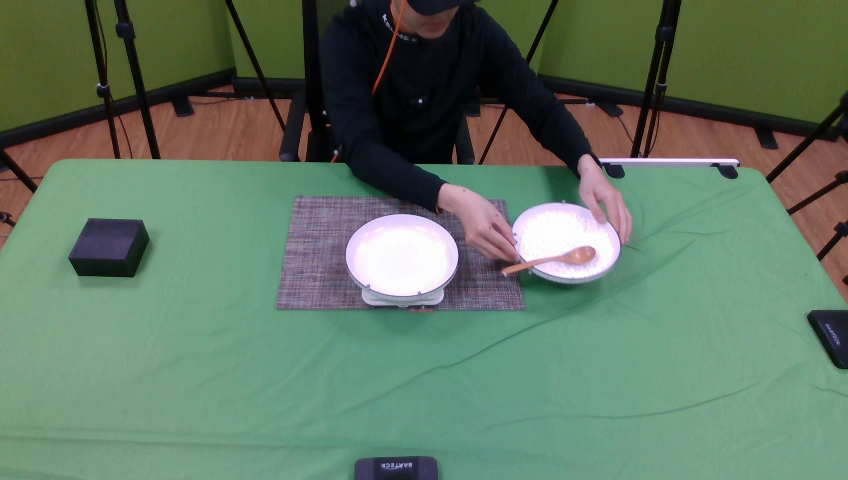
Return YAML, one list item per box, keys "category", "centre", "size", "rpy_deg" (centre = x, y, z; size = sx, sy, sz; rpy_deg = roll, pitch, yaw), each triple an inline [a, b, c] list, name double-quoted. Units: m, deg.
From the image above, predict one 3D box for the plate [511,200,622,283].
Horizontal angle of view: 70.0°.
- category: "plate"
  centre: [0.269, 0.006, 1.156]
  size: [0.209, 0.038, 0.208]
  rpy_deg: [0, 45, 0]

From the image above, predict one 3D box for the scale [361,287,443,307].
- category: "scale"
  centre: [-0.042, 0.040, 1.142]
  size: [0.149, 0.032, 0.199]
  rpy_deg: [0, 46, -4]

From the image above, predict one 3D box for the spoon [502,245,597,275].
- category: "spoon"
  centre: [0.228, 0.037, 1.103]
  size: [0.194, 0.022, 0.041]
  rpy_deg: [-9, 43, -19]

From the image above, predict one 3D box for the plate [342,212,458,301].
- category: "plate"
  centre: [-0.043, 0.033, 1.104]
  size: [0.208, 0.039, 0.206]
  rpy_deg: [2, 46, -2]
